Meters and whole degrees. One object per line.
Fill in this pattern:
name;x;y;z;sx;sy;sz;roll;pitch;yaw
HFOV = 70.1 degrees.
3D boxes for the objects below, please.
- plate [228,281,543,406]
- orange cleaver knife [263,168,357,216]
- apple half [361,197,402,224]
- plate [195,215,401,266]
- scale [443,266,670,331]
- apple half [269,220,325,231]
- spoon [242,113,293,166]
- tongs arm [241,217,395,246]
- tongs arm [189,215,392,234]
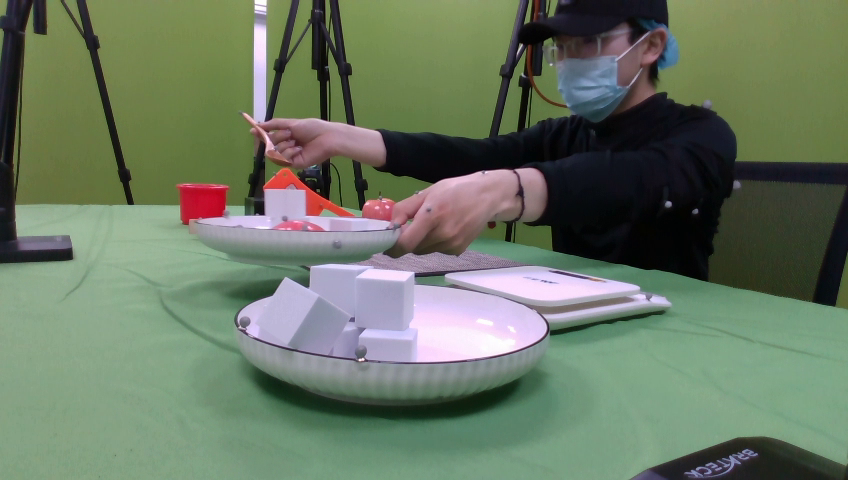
plate;-0.025;0.067;0.413;0.208;0.039;0.207;3;7;0
orange cleaver knife;-0.240;-0.078;1.294;0.212;0.077;0.012;32;-8;-26
apple half;-0.066;-0.033;1.014;0.053;0.074;0.081;10;6;21
plate;-0.129;-0.002;0.634;0.209;0.038;0.209;1;6;0
scale;0.131;0.052;0.603;0.202;0.031;0.148;-2;9;-37
apple half;-0.127;-0.005;0.612;0.081;0.033;0.081;1;9;0
spoon;-0.270;-0.173;1.027;0.042;0.021;0.193;13;28;-44
tongs arm;-0.159;-0.018;1.034;0.028;0.028;0.389;1;5;33
tongs arm;-0.220;-0.028;1.088;0.387;0.026;0.050;-4;8;-43
